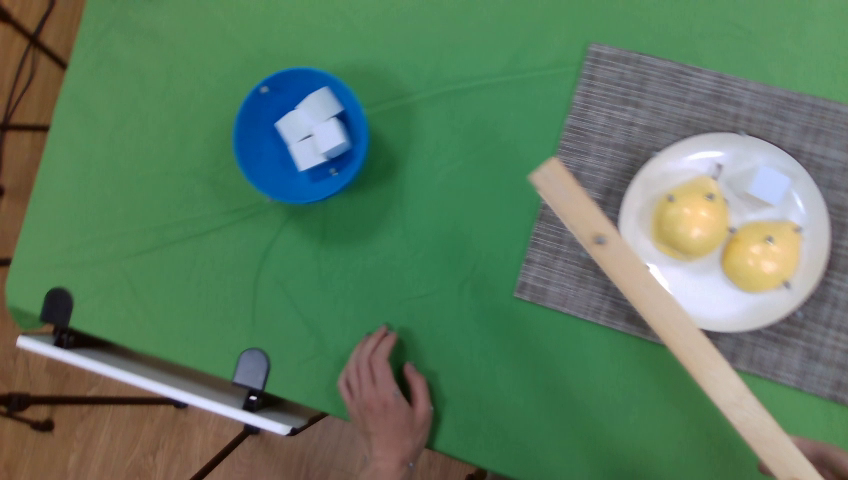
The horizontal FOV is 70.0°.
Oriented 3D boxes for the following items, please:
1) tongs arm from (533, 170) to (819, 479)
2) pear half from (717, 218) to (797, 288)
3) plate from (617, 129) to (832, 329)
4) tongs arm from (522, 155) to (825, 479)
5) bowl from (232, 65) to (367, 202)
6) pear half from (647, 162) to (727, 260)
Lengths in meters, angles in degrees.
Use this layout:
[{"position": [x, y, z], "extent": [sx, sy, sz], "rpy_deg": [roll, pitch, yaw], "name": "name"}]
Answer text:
[{"position": [0.219, 0.092, 0.497], "extent": [0.026, 0.051, 0.383], "rpy_deg": [-40, 81, 10], "name": "tongs arm"}, {"position": [0.350, 0.010, 0.625], "extent": [0.088, 0.031, 0.070], "rpy_deg": [-42, 86, 10], "name": "pear half"}, {"position": [0.308, -0.011, 0.637], "extent": [0.207, 0.039, 0.207], "rpy_deg": [-1, 87, 8], "name": "plate"}, {"position": [0.204, 0.093, 0.437], "extent": [0.028, 0.028, 0.387], "rpy_deg": [-40, 89, 6], "name": "tongs arm"}, {"position": [-0.130, -0.113, 0.689], "extent": [0.151, 0.077, 0.151], "rpy_deg": [-1, 87, 8], "name": "bowl"}, {"position": [0.282, -0.037, 0.628], "extent": [0.076, 0.056, 0.109], "rpy_deg": [27, 87, 5], "name": "pear half"}]
